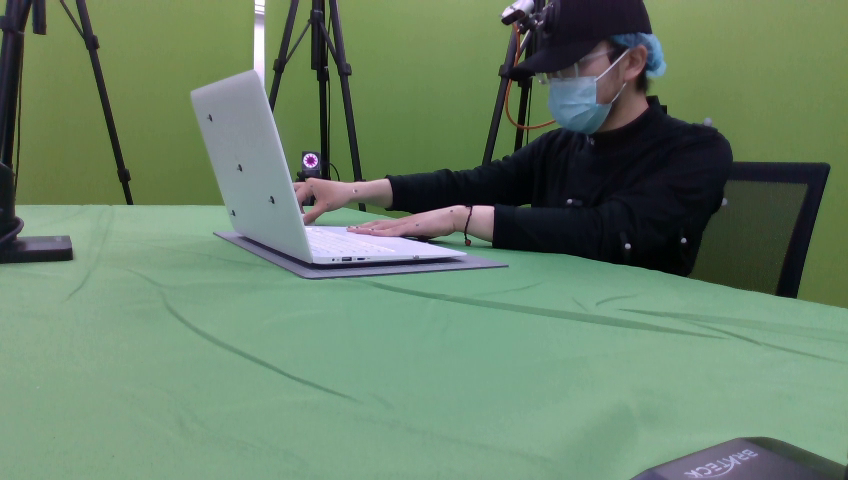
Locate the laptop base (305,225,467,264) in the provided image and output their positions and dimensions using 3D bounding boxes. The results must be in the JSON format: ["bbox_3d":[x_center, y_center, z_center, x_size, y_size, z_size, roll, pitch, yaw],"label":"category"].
[{"bbox_3d":[-0.126,0.005,0.936,0.237,0.023,0.352,2,6,-33],"label":"laptop base"}]

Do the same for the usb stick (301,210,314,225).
[{"bbox_3d":[-0.255,-0.044,1.232,0.059,0.027,0.021,-11,34,-40],"label":"usb stick"}]

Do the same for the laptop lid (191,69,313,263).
[{"bbox_3d":[-0.251,-0.102,0.840,0.013,0.242,0.355,-22,20,-28],"label":"laptop lid"}]
